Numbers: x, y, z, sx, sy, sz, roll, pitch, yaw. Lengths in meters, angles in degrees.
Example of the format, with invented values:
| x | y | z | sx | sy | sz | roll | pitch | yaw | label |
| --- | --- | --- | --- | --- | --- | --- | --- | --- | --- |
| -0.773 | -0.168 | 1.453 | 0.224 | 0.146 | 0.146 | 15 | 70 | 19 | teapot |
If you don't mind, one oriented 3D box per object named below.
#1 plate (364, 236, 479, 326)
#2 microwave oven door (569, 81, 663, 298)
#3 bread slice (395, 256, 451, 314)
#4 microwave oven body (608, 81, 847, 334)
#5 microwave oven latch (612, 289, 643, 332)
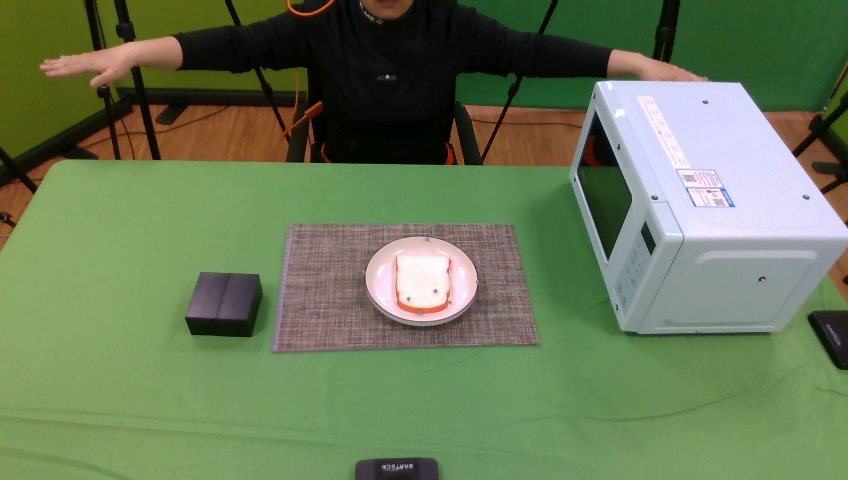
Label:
| x | y | z | sx | sy | sz | roll | pitch | yaw | label |
| --- | --- | --- | --- | --- | --- | --- | --- | --- | --- |
| -0.004 | 0.078 | 1.107 | 0.209 | 0.038 | 0.208 | 2 | 46 | -2 | plate |
| 0.353 | -0.103 | 1.147 | 0.039 | 0.245 | 0.353 | 0 | 46 | -4 | microwave oven door |
| -0.001 | 0.079 | 1.109 | 0.105 | 0.019 | 0.130 | 1 | 45 | -2 | bread slice |
| 0.501 | -0.070 | 1.132 | 0.326 | 0.261 | 0.438 | -1 | 45 | -4 | microwave oven body |
| 0.357 | 0.124 | 1.068 | 0.030 | 0.029 | 0.078 | 0 | 45 | -3 | microwave oven latch |
